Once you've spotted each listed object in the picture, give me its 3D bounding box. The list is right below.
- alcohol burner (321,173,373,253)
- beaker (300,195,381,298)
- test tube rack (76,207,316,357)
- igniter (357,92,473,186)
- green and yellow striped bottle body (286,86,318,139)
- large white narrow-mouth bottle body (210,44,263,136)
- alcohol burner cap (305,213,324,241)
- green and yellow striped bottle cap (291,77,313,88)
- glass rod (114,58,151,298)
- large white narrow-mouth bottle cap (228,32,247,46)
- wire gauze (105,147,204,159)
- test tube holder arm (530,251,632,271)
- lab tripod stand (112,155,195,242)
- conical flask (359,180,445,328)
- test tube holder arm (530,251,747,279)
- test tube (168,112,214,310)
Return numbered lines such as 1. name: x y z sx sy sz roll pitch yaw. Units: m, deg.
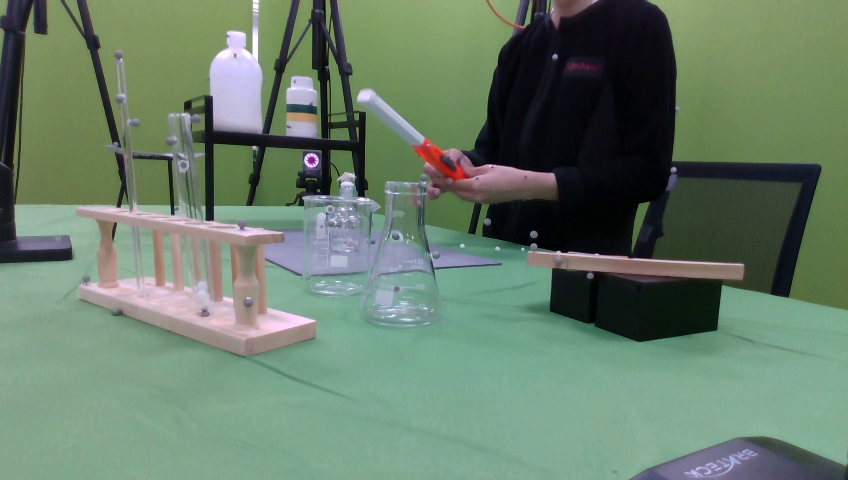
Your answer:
1. alcohol burner: -0.115 -0.041 0.905 0.078 0.119 0.078 1 6 0
2. beaker: -0.087 0.006 0.626 0.084 0.100 0.074 1 8 -17
3. test tube rack: -0.196 0.023 0.500 0.241 0.085 0.067 8 9 36
4. igniter: -0.002 -0.152 0.963 0.057 0.025 0.278 11 -14 42
5. green and yellow striped bottle body: -0.251 -0.270 1.245 0.063 0.119 0.063 2 7 0
6. large white narrow-mouth bottle body: -0.369 -0.305 1.194 0.102 0.194 0.102 3 8 0
7. alcohol burner cap: -0.185 -0.023 1.027 0.034 0.048 0.034 2 6 0
8. green and yellow striped bottle cap: -0.250 -0.321 1.238 0.045 0.020 0.045 3 6 0
9. glass rod: -0.236 -0.044 0.492 0.008 0.199 0.008 0 15 0
10. large white narrow-mouth bottle cap: -0.364 -0.390 1.180 0.038 0.024 0.037 3 8 0
11. wire gauze: -0.407 -0.131 0.928 0.125 0.011 0.121 2 6 -11
12. test tube holder arm: 0.139 0.019 0.538 0.087 0.015 0.010 3 7 13
13. lab tripod stand: -0.405 -0.064 0.931 0.148 0.131 0.148 1 6 0
14. conical flask: -0.017 0.010 0.522 0.075 0.122 0.075 3 7 0
15. test tube holder arm: 0.182 0.022 0.523 0.178 0.015 0.013 3 7 12
16. test tube: -0.175 -0.020 0.455 0.017 0.150 0.017 -4 9 1
